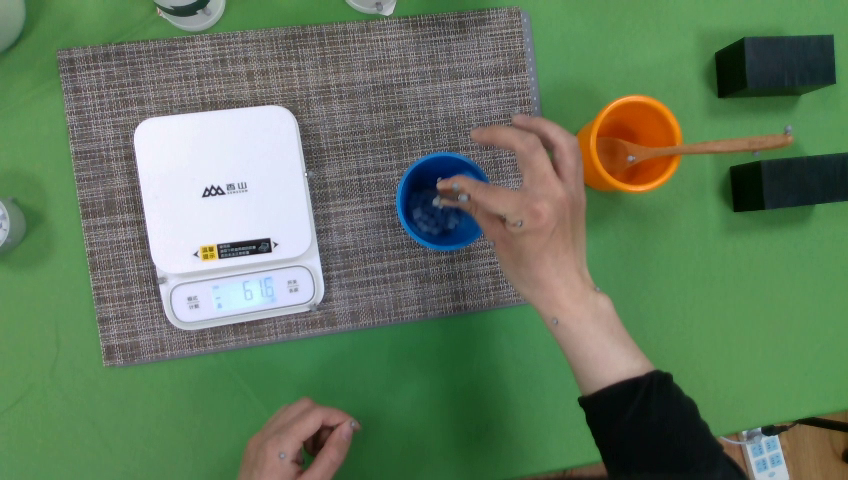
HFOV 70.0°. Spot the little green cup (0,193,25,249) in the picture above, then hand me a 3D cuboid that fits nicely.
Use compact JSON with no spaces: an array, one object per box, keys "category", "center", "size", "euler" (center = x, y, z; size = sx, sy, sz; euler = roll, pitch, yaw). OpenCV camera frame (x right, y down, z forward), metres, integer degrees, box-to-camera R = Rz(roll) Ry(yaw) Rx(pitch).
[{"category":"little green cup","center":[-0.396,-0.018,0.546],"size":[0.062,0.038,0.061],"euler":[0,91,-8]}]

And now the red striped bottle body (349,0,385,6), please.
[{"category":"red striped bottle body","center":[-0.051,-0.262,0.545],"size":[0.063,0.119,0.063],"euler":[0,91,-8]}]

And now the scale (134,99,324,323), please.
[{"category":"scale","center":[-0.182,-0.028,0.573],"size":[0.149,0.031,0.201],"euler":[-9,93,-7]}]

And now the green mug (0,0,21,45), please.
[{"category":"green mug","center":[-0.416,-0.198,0.506],"size":[0.093,0.105,0.125],"euler":[27,88,-7]}]

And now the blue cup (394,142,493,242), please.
[{"category":"blue cup","center":[0.012,-0.041,0.564],"size":[0.093,0.100,0.092],"euler":[0,91,-6]}]

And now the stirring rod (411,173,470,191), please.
[{"category":"stirring rod","center":[0.010,-0.049,0.506],"size":[0.014,0.175,0.006],"euler":[-11,101,-9]}]

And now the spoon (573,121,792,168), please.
[{"category":"spoon","center":[0.235,-0.094,0.571],"size":[0.022,0.192,0.042],"euler":[-13,101,-51]}]

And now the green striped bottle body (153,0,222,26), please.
[{"category":"green striped bottle body","center":[-0.218,-0.235,0.523],"size":[0.063,0.119,0.063],"euler":[0,91,-7]}]
